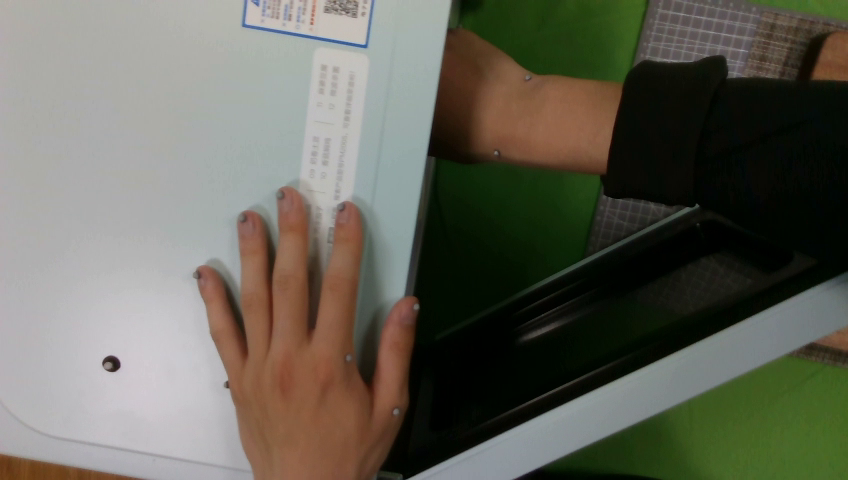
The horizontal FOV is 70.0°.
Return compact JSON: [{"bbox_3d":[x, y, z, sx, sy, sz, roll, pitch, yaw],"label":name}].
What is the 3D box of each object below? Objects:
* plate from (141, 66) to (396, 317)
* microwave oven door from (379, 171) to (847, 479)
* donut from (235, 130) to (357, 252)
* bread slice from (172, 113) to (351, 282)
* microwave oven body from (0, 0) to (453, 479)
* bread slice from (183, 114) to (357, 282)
[{"bbox_3d":[-0.127,-0.038,0.513,0.208,0.039,0.208,0,103,-1],"label":"plate"},{"bbox_3d":[0.134,0.061,0.463,0.356,0.243,0.039,-29,99,9],"label":"microwave oven door"},{"bbox_3d":[-0.103,-0.039,0.488,0.099,0.048,0.099,0,99,1],"label":"donut"},{"bbox_3d":[-0.125,-0.036,0.451,0.134,0.018,0.107,15,106,11],"label":"bread slice"},{"bbox_3d":[-0.125,-0.088,0.450,0.326,0.259,0.443,9,104,1],"label":"microwave oven body"},{"bbox_3d":[-0.139,-0.039,0.511,0.132,0.019,0.105,36,103,-4],"label":"bread slice"}]
